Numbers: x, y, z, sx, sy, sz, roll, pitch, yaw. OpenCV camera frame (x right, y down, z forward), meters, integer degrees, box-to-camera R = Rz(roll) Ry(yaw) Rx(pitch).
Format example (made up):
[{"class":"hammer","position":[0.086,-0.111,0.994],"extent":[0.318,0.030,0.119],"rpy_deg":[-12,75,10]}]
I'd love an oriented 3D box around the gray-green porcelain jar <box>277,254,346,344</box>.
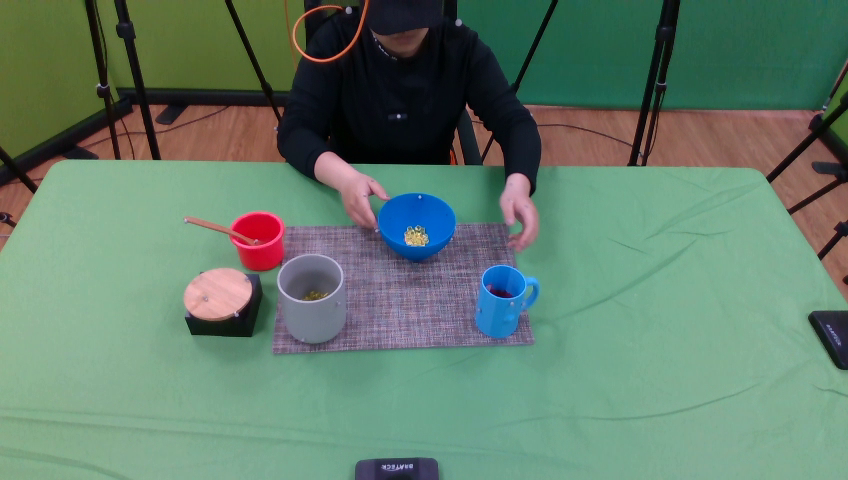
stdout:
[{"class":"gray-green porcelain jar","position":[-0.184,0.102,1.008],"extent":[0.106,0.127,0.105],"rpy_deg":[2,46,-2]}]

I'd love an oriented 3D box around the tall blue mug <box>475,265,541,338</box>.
[{"class":"tall blue mug","position":[0.142,0.098,1.047],"extent":[0.077,0.108,0.107],"rpy_deg":[33,53,27]}]

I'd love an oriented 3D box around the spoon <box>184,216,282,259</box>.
[{"class":"spoon","position":[-0.341,-0.008,1.096],"extent":[0.021,0.195,0.041],"rpy_deg":[-36,47,26]}]

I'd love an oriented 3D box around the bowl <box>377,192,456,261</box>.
[{"class":"bowl","position":[-0.016,-0.014,1.166],"extent":[0.151,0.077,0.150],"rpy_deg":[2,46,-2]}]

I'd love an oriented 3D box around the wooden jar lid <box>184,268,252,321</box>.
[{"class":"wooden jar lid","position":[-0.343,0.092,1.015],"extent":[0.108,0.021,0.107],"rpy_deg":[3,46,-3]}]
